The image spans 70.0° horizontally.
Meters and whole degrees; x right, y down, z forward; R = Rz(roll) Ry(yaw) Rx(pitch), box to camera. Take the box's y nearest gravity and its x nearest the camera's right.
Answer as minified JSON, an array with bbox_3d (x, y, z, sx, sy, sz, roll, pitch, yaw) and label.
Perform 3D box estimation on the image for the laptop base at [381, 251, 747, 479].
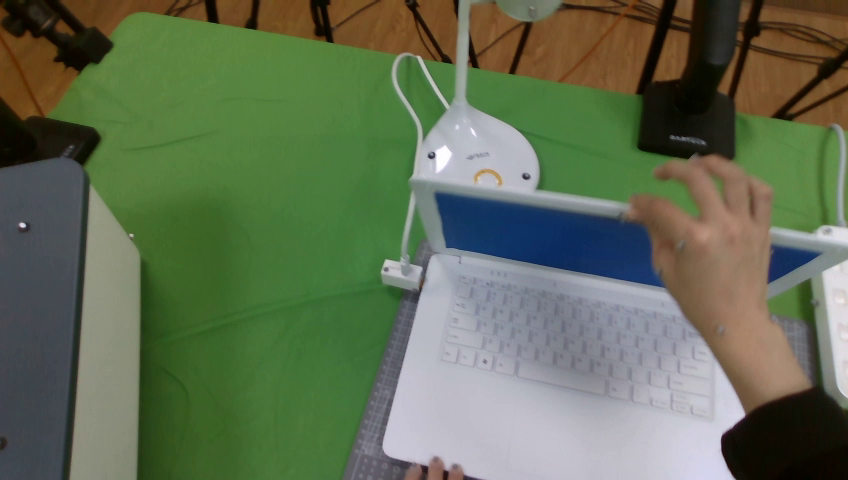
[{"bbox_3d":[0.152,0.143,0.636,0.353,0.023,0.234,10,64,8],"label":"laptop base"}]

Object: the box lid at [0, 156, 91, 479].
[{"bbox_3d":[-0.428,0.089,0.517,0.263,0.015,0.367,-11,61,-5],"label":"box lid"}]

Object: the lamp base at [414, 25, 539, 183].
[{"bbox_3d":[0.059,-0.145,0.718,0.161,0.182,0.177,-22,58,-11],"label":"lamp base"}]

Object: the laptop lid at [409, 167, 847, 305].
[{"bbox_3d":[0.168,0.005,0.578,0.356,0.243,0.013,9,73,9],"label":"laptop lid"}]

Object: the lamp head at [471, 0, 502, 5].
[{"bbox_3d":[0.079,-0.246,0.451,0.112,0.112,0.123,-15,103,-7],"label":"lamp head"}]

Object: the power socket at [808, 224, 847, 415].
[{"bbox_3d":[0.465,0.079,0.657,0.072,0.033,0.225,11,60,7],"label":"power socket"}]

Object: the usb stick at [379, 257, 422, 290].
[{"bbox_3d":[-0.020,0.039,0.689,0.059,0.027,0.021,15,55,7],"label":"usb stick"}]

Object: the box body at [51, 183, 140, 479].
[{"bbox_3d":[-0.426,0.129,0.580,0.254,0.162,0.360,-11,60,-5],"label":"box body"}]
